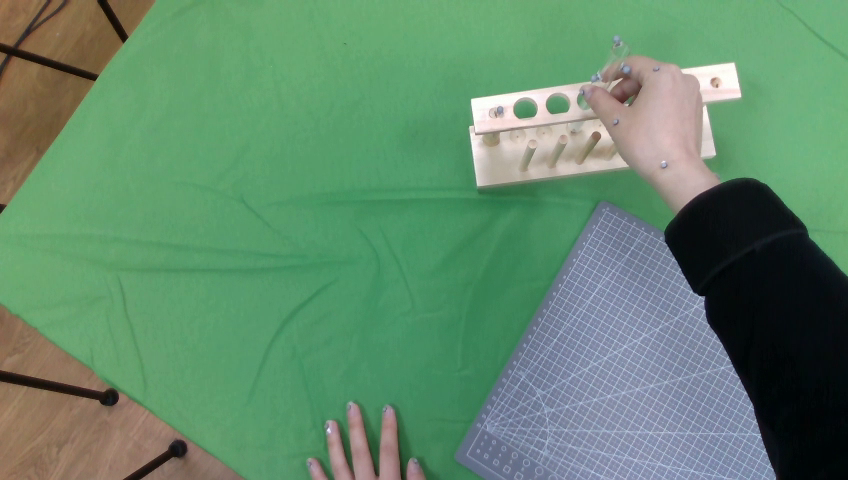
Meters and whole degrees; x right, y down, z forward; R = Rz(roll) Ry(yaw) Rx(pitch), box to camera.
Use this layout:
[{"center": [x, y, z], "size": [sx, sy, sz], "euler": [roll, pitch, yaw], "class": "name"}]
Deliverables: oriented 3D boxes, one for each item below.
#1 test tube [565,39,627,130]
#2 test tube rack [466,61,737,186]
[{"center": [0.150, -0.134, 0.545], "size": [0.017, 0.151, 0.017], "euler": [0, 77, 0], "class": "test tube"}, {"center": [0.166, -0.110, 0.591], "size": [0.242, 0.085, 0.066], "euler": [-7, 81, 2], "class": "test tube rack"}]
